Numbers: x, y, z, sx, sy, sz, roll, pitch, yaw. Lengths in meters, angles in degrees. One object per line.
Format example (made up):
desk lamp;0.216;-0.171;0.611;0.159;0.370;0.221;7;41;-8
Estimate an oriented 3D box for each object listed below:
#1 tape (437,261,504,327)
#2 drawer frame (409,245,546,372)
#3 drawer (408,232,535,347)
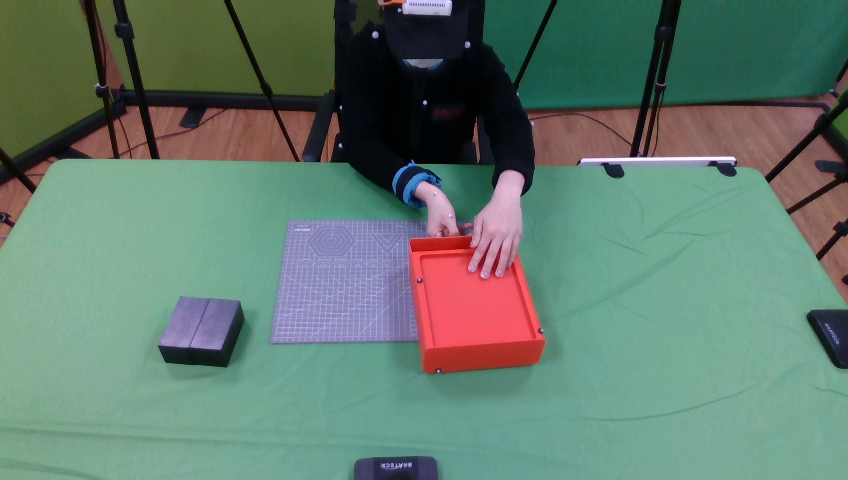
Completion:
tape;0.082;0.095;1.075;0.117;0.053;0.116;2;45;-2
drawer frame;0.084;0.112;1.049;0.202;0.083;0.212;-4;47;-8
drawer;0.079;0.086;1.074;0.195;0.073;0.210;-3;46;-8
